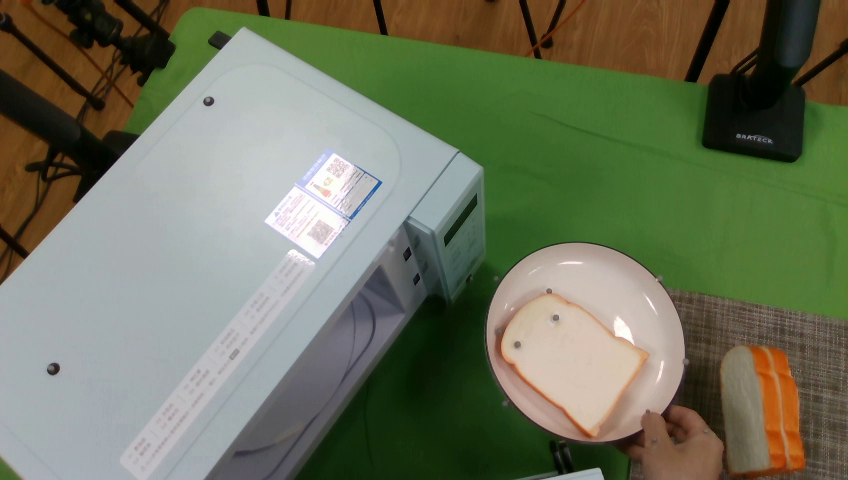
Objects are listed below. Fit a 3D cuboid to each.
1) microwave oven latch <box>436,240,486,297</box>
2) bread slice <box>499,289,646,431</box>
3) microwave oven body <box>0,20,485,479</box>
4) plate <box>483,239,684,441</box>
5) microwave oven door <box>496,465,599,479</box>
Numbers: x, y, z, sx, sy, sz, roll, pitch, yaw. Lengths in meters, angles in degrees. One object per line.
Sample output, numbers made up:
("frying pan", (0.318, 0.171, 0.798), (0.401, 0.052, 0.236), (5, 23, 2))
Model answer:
("microwave oven latch", (0.045, 0.029, 0.736), (0.030, 0.030, 0.079), (35, 77, 16))
("bread slice", (0.145, 0.117, 0.625), (0.134, 0.018, 0.106), (35, 70, 11))
("microwave oven body", (-0.189, 0.055, 0.646), (0.324, 0.262, 0.441), (33, 77, 16))
("plate", (0.163, 0.102, 0.633), (0.208, 0.039, 0.206), (1, 72, -3))
("microwave oven door", (-0.030, 0.256, 0.549), (0.356, 0.245, 0.039), (-13, 67, 1))
